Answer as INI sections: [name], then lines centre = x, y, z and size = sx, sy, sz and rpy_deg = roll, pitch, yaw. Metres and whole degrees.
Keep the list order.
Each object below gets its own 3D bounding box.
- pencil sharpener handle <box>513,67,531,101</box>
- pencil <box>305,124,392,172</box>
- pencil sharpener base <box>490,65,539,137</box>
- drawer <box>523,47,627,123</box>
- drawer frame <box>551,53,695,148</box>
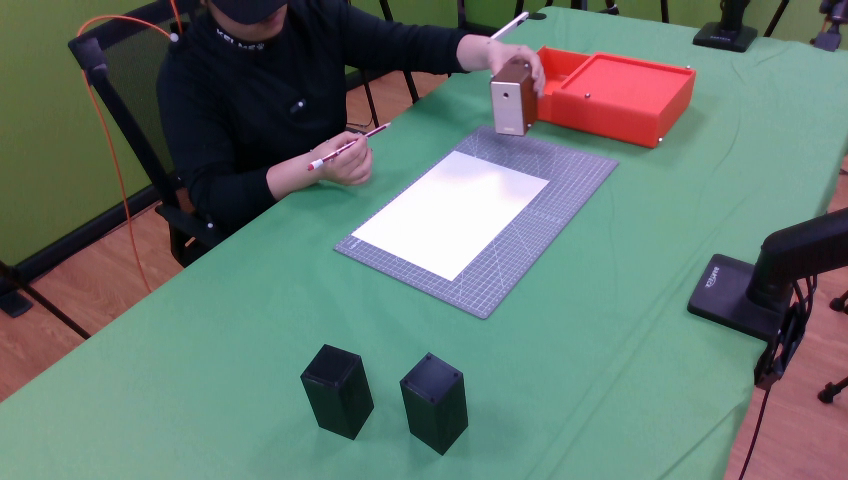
[pencil sharpener handle]
centre = 0.185, -0.292, 1.112
size = 0.036, 0.068, 0.030
rpy_deg = 14, 46, 24
[pencil]
centre = -0.127, -0.164, 1.054
size = 0.195, 0.012, 0.012
rpy_deg = -35, 47, -30
[pencil sharpener base]
centre = 0.165, -0.250, 1.086
size = 0.061, 0.107, 0.077
rpy_deg = 11, 44, 28
[drawer]
centre = 0.295, -0.316, 1.254
size = 0.210, 0.073, 0.195
rpy_deg = 21, 47, 30
[drawer frame]
centre = 0.391, -0.281, 1.196
size = 0.212, 0.083, 0.202
rpy_deg = 22, 48, 29
